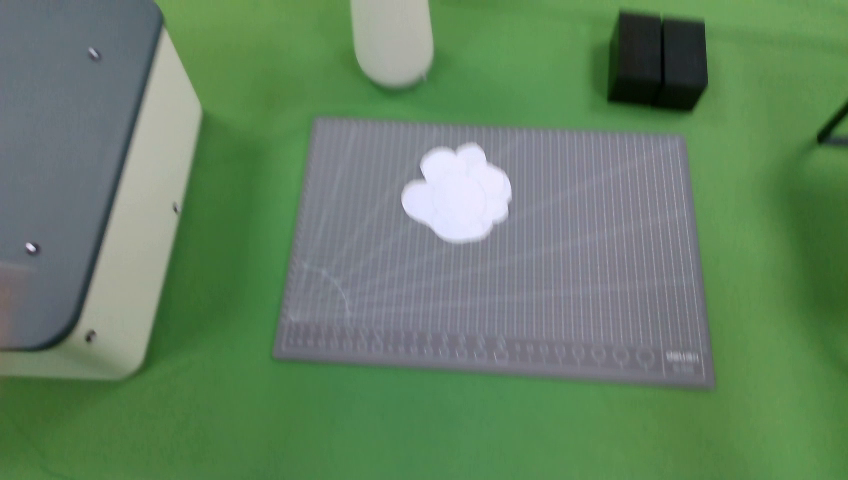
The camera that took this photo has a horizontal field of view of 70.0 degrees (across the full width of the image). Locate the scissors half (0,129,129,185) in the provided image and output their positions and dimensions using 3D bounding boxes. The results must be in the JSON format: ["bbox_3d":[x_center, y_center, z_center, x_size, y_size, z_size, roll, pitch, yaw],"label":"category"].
[{"bbox_3d":[-0.433,-0.091,0.699,0.175,0.040,0.012,-22,36,-11],"label":"scissors half"}]

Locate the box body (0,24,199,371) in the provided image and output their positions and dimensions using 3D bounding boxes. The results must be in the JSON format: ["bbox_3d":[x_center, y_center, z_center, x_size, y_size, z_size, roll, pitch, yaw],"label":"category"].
[{"bbox_3d":[-0.399,-0.056,0.616,0.254,0.161,0.361,2,66,2],"label":"box body"}]

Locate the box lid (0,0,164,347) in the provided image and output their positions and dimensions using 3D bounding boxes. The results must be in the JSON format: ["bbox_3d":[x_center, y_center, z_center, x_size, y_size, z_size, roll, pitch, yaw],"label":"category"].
[{"bbox_3d":[-0.400,-0.089,0.547,0.263,0.015,0.368,3,66,0],"label":"box lid"}]

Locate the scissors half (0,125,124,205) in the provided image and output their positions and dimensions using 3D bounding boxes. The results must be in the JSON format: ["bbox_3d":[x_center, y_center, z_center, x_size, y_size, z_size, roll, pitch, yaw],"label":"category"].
[{"bbox_3d":[-0.429,-0.081,0.707,0.175,0.040,0.012,-29,31,-4],"label":"scissors half"}]

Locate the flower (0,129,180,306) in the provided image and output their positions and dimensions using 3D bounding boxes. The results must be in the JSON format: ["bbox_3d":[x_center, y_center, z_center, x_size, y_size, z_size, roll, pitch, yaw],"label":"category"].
[{"bbox_3d":[-0.397,-0.026,0.694,0.038,0.044,0.359,-4,40,34],"label":"flower"}]

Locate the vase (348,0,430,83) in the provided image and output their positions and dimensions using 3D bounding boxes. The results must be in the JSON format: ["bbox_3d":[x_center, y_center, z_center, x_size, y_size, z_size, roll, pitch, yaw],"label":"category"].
[{"bbox_3d":[-0.043,-0.273,0.690,0.098,0.201,0.097,-1,64,2],"label":"vase"}]
